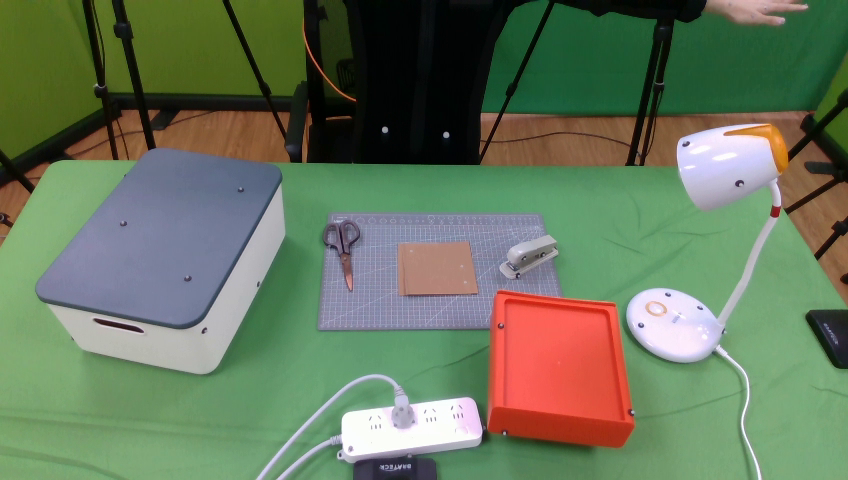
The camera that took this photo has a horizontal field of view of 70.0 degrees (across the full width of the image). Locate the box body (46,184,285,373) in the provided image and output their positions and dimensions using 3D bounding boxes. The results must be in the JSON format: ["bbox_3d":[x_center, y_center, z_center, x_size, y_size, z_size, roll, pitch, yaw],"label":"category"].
[{"bbox_3d":[-0.414,0.029,1.040,0.254,0.161,0.362,10,46,5],"label":"box body"}]

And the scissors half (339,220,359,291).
[{"bbox_3d":[-0.144,0.026,1.162,0.040,0.013,0.174,-7,50,1],"label":"scissors half"}]

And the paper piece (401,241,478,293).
[{"bbox_3d":[0.028,0.051,1.156,0.136,0.009,0.137,2,44,-8],"label":"paper piece"}]

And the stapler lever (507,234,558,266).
[{"bbox_3d":[0.209,0.015,1.161,0.118,0.040,0.026,-25,56,-27],"label":"stapler lever"}]

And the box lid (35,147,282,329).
[{"bbox_3d":[-0.411,-0.023,0.987,0.263,0.015,0.369,10,47,5],"label":"box lid"}]

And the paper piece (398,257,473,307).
[{"bbox_3d":[0.025,0.065,1.157,0.135,0.004,0.135,12,44,-2],"label":"paper piece"}]

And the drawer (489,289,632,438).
[{"bbox_3d":[0.203,0.185,0.934,0.194,0.073,0.210,7,47,1],"label":"drawer"}]

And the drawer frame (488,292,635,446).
[{"bbox_3d":[0.204,0.191,0.931,0.202,0.083,0.212,7,45,2],"label":"drawer frame"}]

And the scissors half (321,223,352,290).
[{"bbox_3d":[-0.163,0.030,1.159,0.040,0.013,0.174,-16,50,-14],"label":"scissors half"}]

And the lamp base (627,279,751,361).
[{"bbox_3d":[0.460,0.100,1.027,0.178,0.181,0.160,27,51,17],"label":"lamp base"}]

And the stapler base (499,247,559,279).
[{"bbox_3d":[0.206,0.033,1.178,0.130,0.024,0.041,-25,56,-27],"label":"stapler base"}]

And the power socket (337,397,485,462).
[{"bbox_3d":[-0.018,0.285,0.915,0.227,0.033,0.071,-4,46,-8],"label":"power socket"}]

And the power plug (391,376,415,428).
[{"bbox_3d":[-0.030,0.249,0.917,0.035,0.053,0.072,3,46,0],"label":"power plug"}]

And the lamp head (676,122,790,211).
[{"bbox_3d":[0.423,-0.104,0.819,0.122,0.113,0.112,-13,33,40],"label":"lamp head"}]
